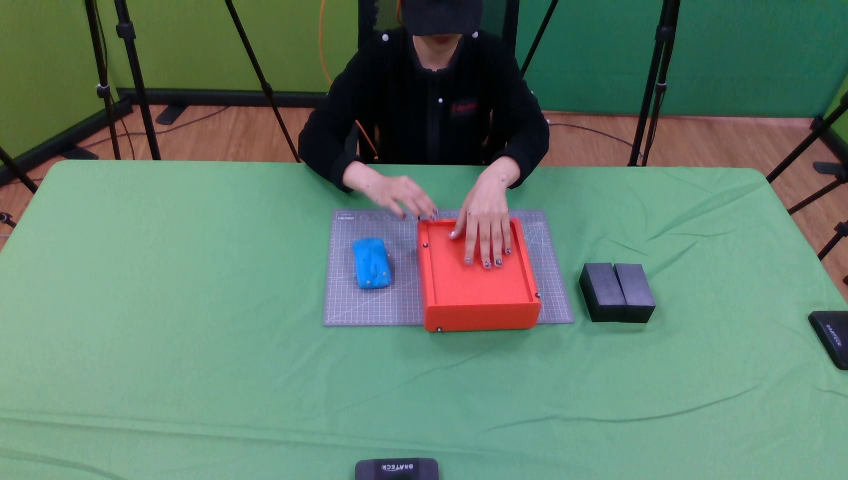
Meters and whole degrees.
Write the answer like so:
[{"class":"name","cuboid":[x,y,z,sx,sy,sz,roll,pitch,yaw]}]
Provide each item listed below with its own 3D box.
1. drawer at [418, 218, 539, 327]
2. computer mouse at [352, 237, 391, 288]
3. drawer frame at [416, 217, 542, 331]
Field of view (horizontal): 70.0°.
[{"class":"drawer","cuboid":[0.092,0.056,1.108,0.195,0.073,0.210,0,47,-6]},{"class":"computer mouse","cuboid":[-0.100,0.039,1.140,0.063,0.041,0.116,-5,51,-11]},{"class":"drawer frame","cuboid":[0.092,0.056,1.105,0.202,0.083,0.212,-1,47,-6]}]
